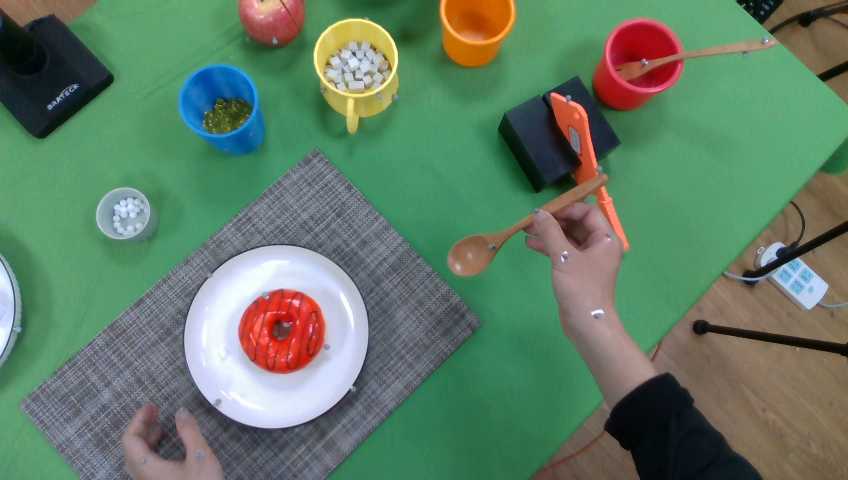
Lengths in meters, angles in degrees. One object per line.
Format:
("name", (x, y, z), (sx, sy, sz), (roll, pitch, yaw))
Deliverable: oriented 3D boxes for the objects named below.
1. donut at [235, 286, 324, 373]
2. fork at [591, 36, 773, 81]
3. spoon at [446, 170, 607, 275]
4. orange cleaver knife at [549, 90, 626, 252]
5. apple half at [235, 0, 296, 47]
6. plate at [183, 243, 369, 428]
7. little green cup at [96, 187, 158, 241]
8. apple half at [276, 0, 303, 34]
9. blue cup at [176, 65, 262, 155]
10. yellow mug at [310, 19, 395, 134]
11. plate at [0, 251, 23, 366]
("donut", (-0.163, 0.102, 0.689), (0.099, 0.048, 0.098), (0, 82, -2))
("fork", (0.301, -0.219, 0.728), (0.206, 0.019, 0.028), (-3, 64, 39))
("spoon", (0.096, -0.016, 0.602), (0.193, 0.022, 0.041), (-32, 74, 37))
("orange cleaver knife", (0.196, -0.081, 0.732), (0.012, 0.076, 0.213), (-28, 112, -5))
("apple half", (-0.202, -0.273, 0.747), (0.053, 0.075, 0.080), (-37, 87, -5))
("plate", (-0.167, 0.107, 0.699), (0.209, 0.038, 0.208), (1, 81, -3))
("little green cup", (-0.348, -0.028, 0.716), (0.061, 0.039, 0.061), (0, 80, -2))
("apple half", (-0.171, -0.297, 0.752), (0.033, 0.081, 0.081), (-38, 83, -7))
("blue cup", (-0.230, -0.143, 0.710), (0.093, 0.100, 0.092), (1, 81, -4))
("yellow mug", (-0.087, -0.195, 0.744), (0.100, 0.064, 0.130), (5, 81, -3))
("plate", (-0.558, 0.086, 0.685), (0.208, 0.039, 0.207), (1, 80, -3))
